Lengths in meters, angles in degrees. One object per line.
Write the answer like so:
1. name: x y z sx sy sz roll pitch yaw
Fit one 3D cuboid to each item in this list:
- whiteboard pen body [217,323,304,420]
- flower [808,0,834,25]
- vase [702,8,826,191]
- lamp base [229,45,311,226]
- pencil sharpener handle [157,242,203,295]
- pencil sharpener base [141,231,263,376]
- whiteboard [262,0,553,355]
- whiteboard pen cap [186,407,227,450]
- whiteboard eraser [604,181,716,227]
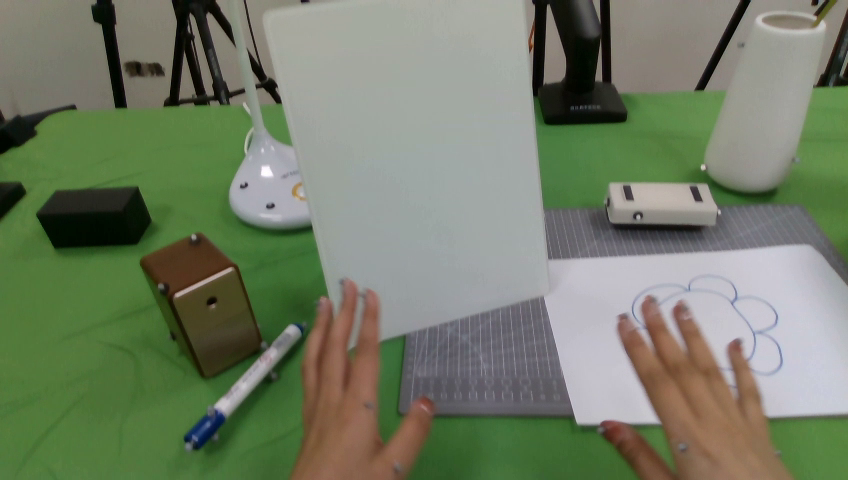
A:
1. whiteboard pen body: -0.149 0.120 0.532 0.017 0.017 0.140 13 38 21
2. flower: 0.398 -0.212 0.635 0.044 0.364 0.038 -16 57 -25
3. vase: 0.392 -0.156 0.698 0.098 0.202 0.097 -1 39 1
4. lamp base: -0.179 -0.133 0.728 0.177 0.182 0.160 27 48 36
5. pencil sharpener handle: -0.232 0.024 0.573 0.036 0.068 0.030 -36 47 -23
6. pencil sharpener base: -0.200 0.057 0.549 0.061 0.108 0.076 -30 45 -29
7. whiteboard: -0.014 -0.079 0.594 0.217 0.307 0.142 -14 20 -11
8. whiteboard pen cap: -0.173 0.151 0.486 0.018 0.018 0.033 15 39 23
9. whiteboard eraser: 0.264 -0.040 0.683 0.112 0.042 0.055 1 36 6
